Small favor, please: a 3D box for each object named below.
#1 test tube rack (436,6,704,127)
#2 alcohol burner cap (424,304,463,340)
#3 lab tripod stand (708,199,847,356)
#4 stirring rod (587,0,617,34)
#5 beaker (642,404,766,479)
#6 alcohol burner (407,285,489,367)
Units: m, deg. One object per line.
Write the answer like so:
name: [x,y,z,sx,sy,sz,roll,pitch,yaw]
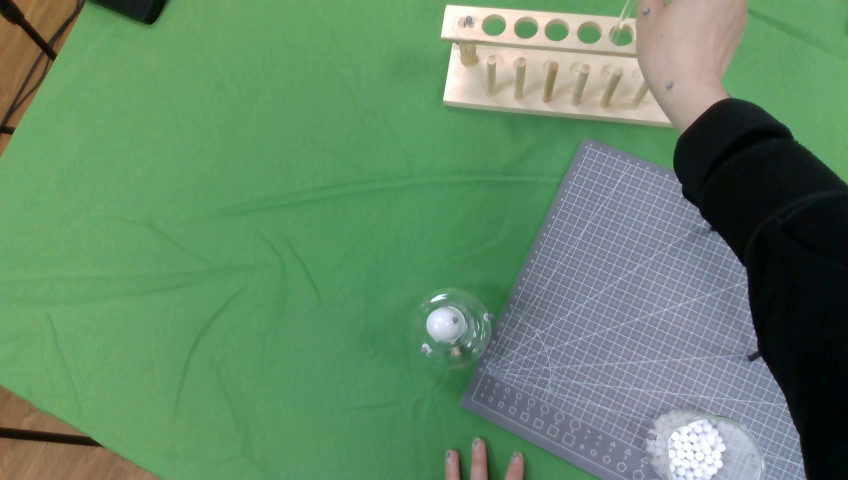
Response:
test tube rack: [0.135,-0.170,0.599,0.242,0.085,0.066,7,81,9]
alcohol burner cap: [0.015,0.070,0.522,0.034,0.048,0.034,-1,83,9]
lab tripod stand: [0.316,0.028,0.513,0.148,0.132,0.148,-1,82,7]
stirring rod: [0.158,-0.212,0.462,0.006,0.176,0.014,-29,80,-11]
beaker: [0.228,0.178,0.517,0.083,0.101,0.074,31,85,13]
alcohol burner: [0.021,0.078,0.558,0.078,0.119,0.077,-1,78,6]
